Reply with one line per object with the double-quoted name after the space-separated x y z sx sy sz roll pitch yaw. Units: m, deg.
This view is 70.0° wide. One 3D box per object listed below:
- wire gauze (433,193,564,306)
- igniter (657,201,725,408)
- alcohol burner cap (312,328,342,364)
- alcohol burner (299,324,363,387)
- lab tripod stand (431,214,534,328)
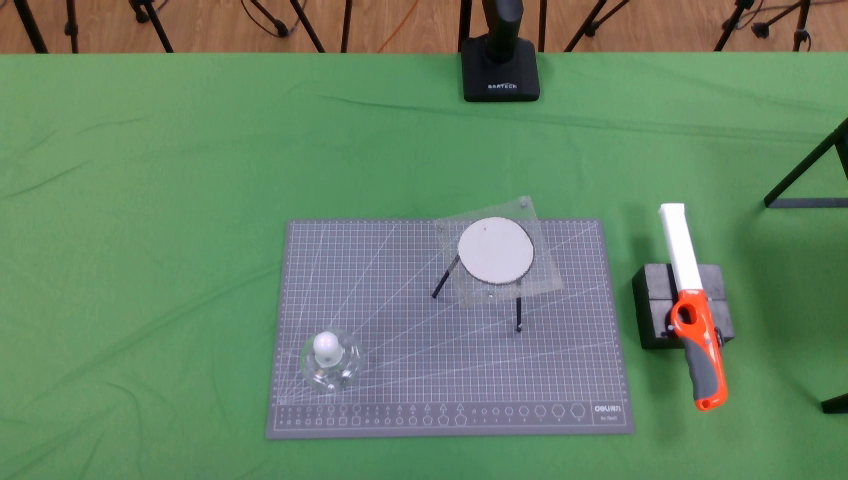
0.084 0.010 0.698 0.125 0.011 0.120 -12 66 -7 "wire gauze"
0.333 0.072 0.763 0.057 0.025 0.274 0 63 0 "igniter"
-0.112 0.118 0.686 0.034 0.048 0.033 0 61 0 "alcohol burner cap"
-0.112 0.133 0.719 0.078 0.120 0.077 1 67 -3 "alcohol burner"
0.083 0.032 0.762 0.148 0.132 0.147 0 63 0 "lab tripod stand"
